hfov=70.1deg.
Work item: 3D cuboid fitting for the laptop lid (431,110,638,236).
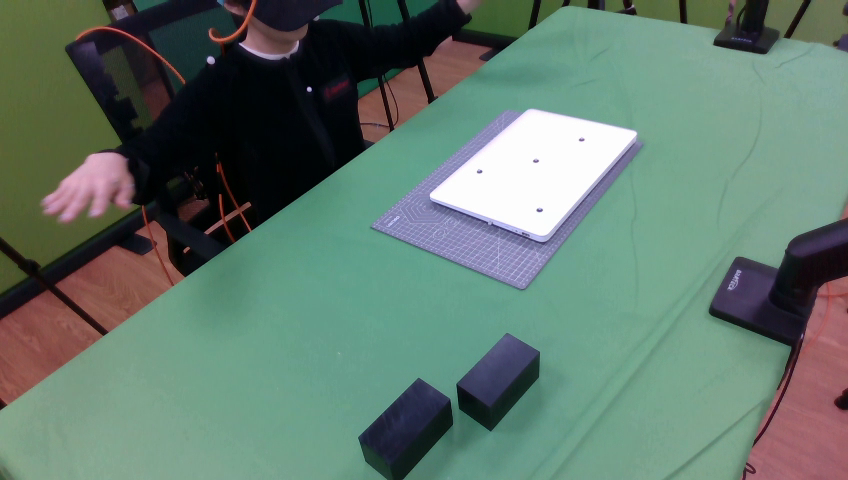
[{"bbox_3d":[0.205,-0.138,1.092,0.239,0.013,0.358,23,49,34],"label":"laptop lid"}]

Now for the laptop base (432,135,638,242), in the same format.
[{"bbox_3d":[0.208,-0.129,1.098,0.233,0.023,0.355,20,47,33],"label":"laptop base"}]
